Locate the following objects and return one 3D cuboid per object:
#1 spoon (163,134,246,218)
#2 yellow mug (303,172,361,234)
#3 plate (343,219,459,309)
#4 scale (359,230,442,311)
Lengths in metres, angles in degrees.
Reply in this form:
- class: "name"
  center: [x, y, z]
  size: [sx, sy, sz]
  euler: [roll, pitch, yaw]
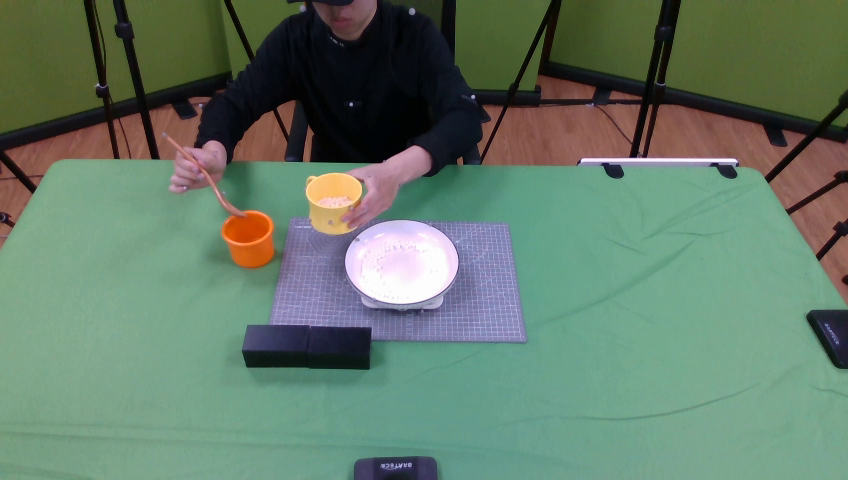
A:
- class: "spoon"
  center: [-0.385, -0.111, 1.064]
  size: [0.021, 0.194, 0.041]
  euler: [-38, 13, 0]
- class: "yellow mug"
  center: [-0.176, -0.076, 1.102]
  size: [0.130, 0.064, 0.100]
  euler: [33, 52, 26]
- class: "plate"
  center: [-0.041, 0.045, 1.094]
  size: [0.209, 0.038, 0.208]
  euler: [2, 46, -1]
- class: "scale"
  center: [-0.043, 0.047, 1.138]
  size: [0.149, 0.032, 0.199]
  euler: [2, 46, -3]
